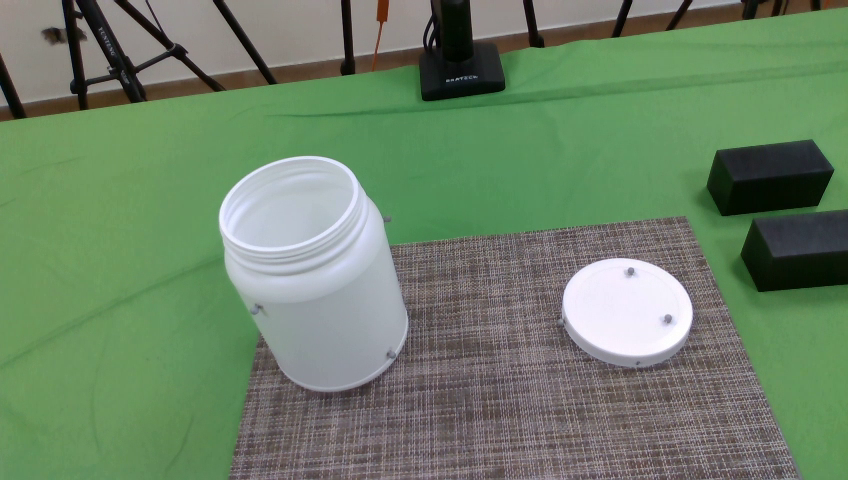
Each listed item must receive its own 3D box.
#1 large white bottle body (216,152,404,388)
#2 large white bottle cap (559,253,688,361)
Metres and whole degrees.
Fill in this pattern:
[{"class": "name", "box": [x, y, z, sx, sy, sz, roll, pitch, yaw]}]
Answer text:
[{"class": "large white bottle body", "box": [-0.094, 0.028, 0.526, 0.130, 0.186, 0.129, -5, 46, 6]}, {"class": "large white bottle cap", "box": [0.184, 0.060, 0.565, 0.115, 0.018, 0.113, -5, 47, 5]}]
